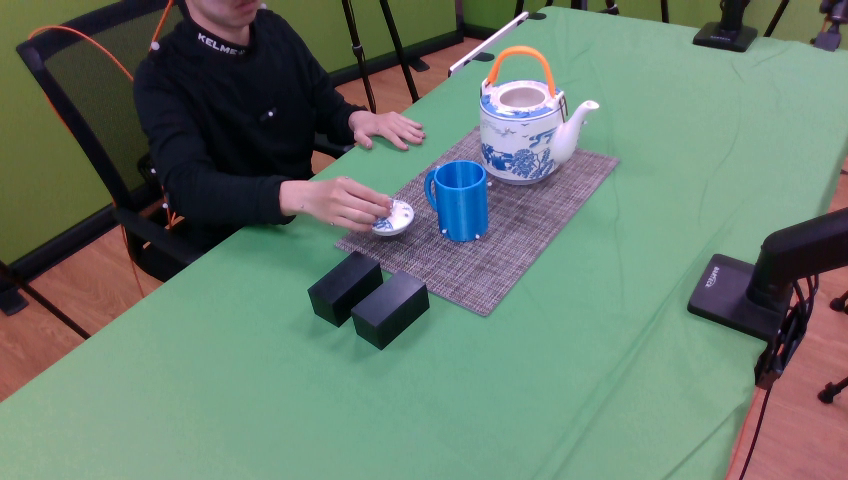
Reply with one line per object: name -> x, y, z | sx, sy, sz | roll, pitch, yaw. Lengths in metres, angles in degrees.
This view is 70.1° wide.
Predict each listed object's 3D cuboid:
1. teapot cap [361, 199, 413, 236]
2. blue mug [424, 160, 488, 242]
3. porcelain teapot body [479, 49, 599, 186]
teapot cap -> -0.059, -0.041, 0.961 | 0.085, 0.044, 0.085 | -2, 39, 2
blue mug -> 0.047, -0.067, 0.970 | 0.115, 0.106, 0.082 | 22, 49, 30
porcelain teapot body -> 0.192, -0.208, 1.023 | 0.204, 0.226, 0.145 | 16, 46, 25
